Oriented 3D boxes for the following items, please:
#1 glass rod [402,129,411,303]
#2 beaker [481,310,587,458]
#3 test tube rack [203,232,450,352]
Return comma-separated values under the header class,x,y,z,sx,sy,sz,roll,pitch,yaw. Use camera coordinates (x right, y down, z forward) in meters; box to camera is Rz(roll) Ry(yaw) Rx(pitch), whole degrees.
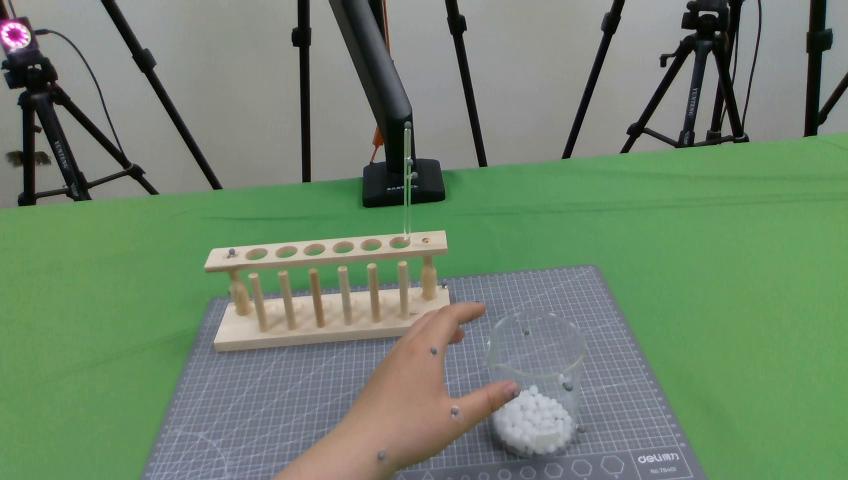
class,x,y,z,sx,sy,sz,roll,pitch,yaw
glass rod,-0.017,-0.016,0.602,0.008,0.201,0.008,0,34,0
beaker,0.086,0.120,0.489,0.084,0.101,0.073,-15,34,-16
test tube rack,-0.097,0.054,0.626,0.242,0.086,0.066,-4,33,-1
